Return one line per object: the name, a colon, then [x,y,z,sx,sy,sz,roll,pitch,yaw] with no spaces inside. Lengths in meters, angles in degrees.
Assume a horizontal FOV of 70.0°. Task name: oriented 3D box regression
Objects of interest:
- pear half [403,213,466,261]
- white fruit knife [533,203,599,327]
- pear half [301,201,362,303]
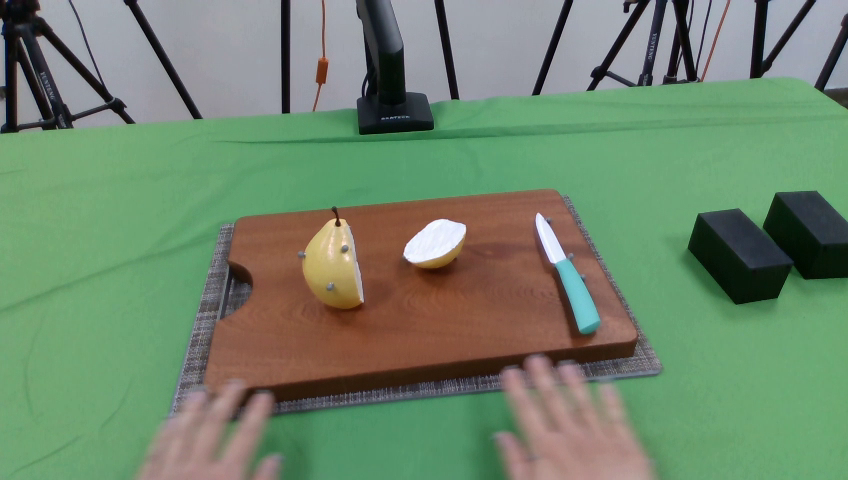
pear half: [0.014,0.001,0.651,0.070,0.031,0.087,-11,23,13]
white fruit knife: [0.145,0.017,0.640,0.027,0.016,0.205,7,36,-12]
pear half: [-0.092,0.009,0.584,0.056,0.111,0.075,-11,36,-10]
